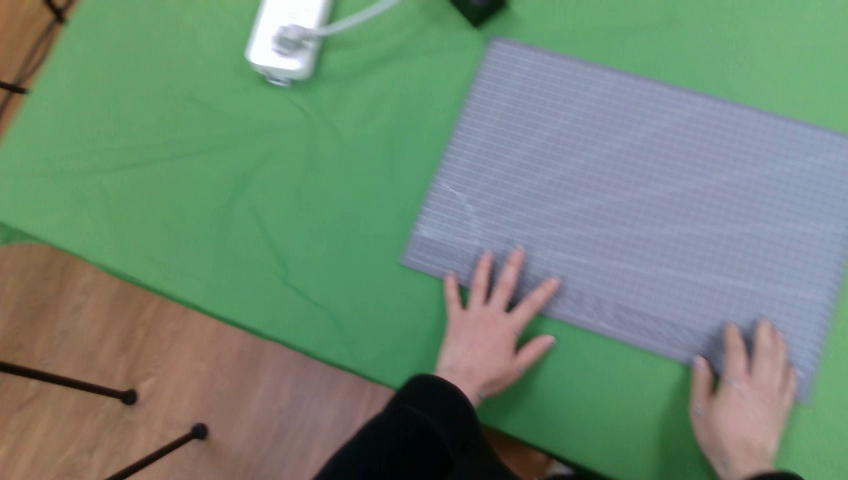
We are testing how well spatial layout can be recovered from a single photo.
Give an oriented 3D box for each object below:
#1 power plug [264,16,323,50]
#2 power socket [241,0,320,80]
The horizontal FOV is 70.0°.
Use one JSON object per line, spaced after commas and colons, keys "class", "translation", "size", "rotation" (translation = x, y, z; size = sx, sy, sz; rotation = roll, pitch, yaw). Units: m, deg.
{"class": "power plug", "translation": [-0.153, -0.236, 0.713], "size": [0.072, 0.053, 0.035], "rotation": [22, 81, 6]}
{"class": "power socket", "translation": [-0.165, -0.309, 0.748], "size": [0.072, 0.033, 0.226], "rotation": [12, 80, 7]}
